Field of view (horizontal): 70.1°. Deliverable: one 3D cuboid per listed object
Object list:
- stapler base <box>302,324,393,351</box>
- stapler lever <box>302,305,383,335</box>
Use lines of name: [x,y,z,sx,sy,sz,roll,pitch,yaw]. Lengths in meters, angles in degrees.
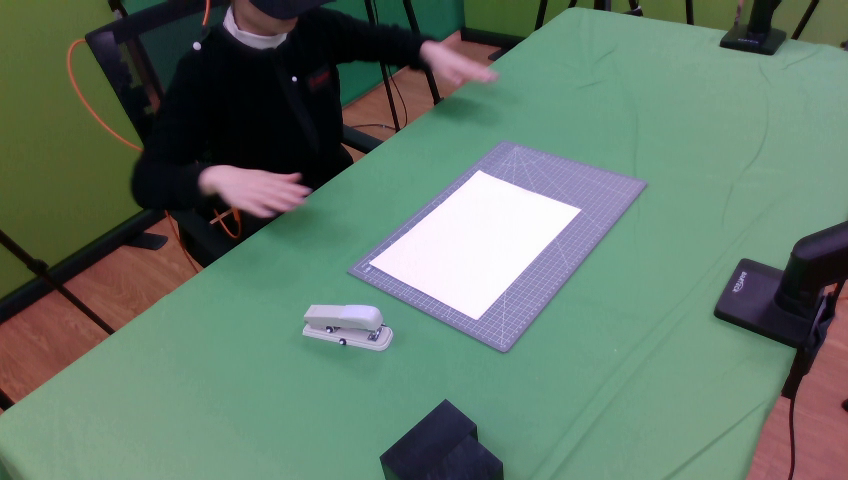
stapler base: [-0.109,0.123,0.845,0.130,0.024,0.041,7,40,18]
stapler lever: [-0.113,0.105,0.829,0.117,0.040,0.027,7,40,18]
